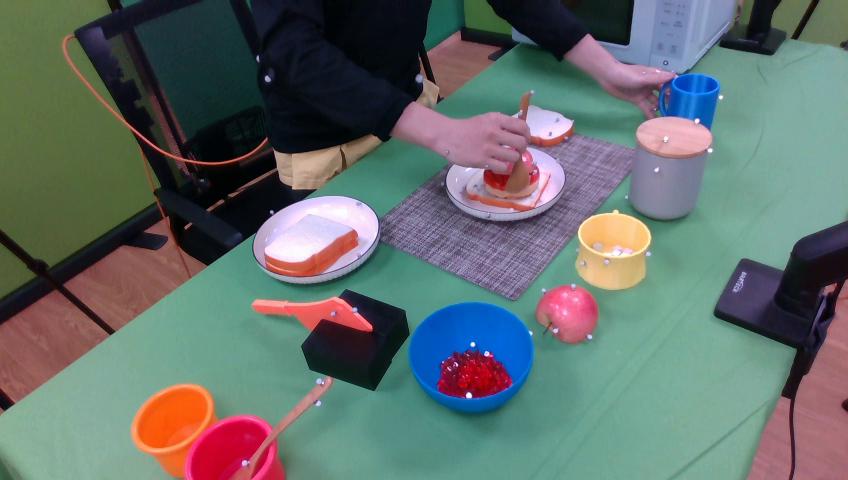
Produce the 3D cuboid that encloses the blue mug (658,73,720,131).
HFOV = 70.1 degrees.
[{"bbox_3d":[0.483,-0.250,1.127,0.082,0.106,0.115,-26,44,-19],"label":"blue mug"}]

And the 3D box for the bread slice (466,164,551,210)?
[{"bbox_3d":[0.141,-0.094,1.041,0.133,0.018,0.107,8,43,21],"label":"bread slice"}]

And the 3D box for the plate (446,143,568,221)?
[{"bbox_3d":[0.142,-0.096,1.045,0.207,0.039,0.206,-4,40,4],"label":"plate"}]

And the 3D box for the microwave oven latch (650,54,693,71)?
[{"bbox_3d":[0.531,-0.386,1.301,0.078,0.029,0.030,26,51,33],"label":"microwave oven latch"}]

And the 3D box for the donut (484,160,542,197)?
[{"bbox_3d":[0.149,-0.110,1.016,0.099,0.048,0.098,-4,40,4],"label":"donut"}]

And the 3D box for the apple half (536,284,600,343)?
[{"bbox_3d":[0.196,0.091,0.815,0.075,0.053,0.080,-22,42,-20],"label":"apple half"}]

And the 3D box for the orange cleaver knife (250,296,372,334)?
[{"bbox_3d":[-0.159,0.103,0.828,0.210,0.078,0.012,-4,43,39],"label":"orange cleaver knife"}]

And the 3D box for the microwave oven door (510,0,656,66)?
[{"bbox_3d":[0.350,-0.539,1.349,0.353,0.245,0.039,24,50,31],"label":"microwave oven door"}]

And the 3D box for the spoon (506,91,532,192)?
[{"bbox_3d":[0.143,-0.140,0.896,0.042,0.194,0.021,-13,47,-7],"label":"spoon"}]

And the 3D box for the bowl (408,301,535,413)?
[{"bbox_3d":[0.060,0.156,0.739,0.151,0.077,0.150,-4,40,4],"label":"bowl"}]

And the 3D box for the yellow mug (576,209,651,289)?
[{"bbox_3d":[0.279,0.004,0.893,0.099,0.064,0.130,6,42,14],"label":"yellow mug"}]

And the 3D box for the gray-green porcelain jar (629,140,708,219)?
[{"bbox_3d":[0.383,-0.105,0.958,0.106,0.127,0.105,-4,41,4],"label":"gray-green porcelain jar"}]

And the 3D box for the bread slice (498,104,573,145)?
[{"bbox_3d":[0.231,-0.231,1.205,0.105,0.019,0.130,-36,47,-29],"label":"bread slice"}]

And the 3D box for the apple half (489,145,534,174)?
[{"bbox_3d":[0.145,-0.138,0.995,0.081,0.033,0.081,-2,35,2],"label":"apple half"}]

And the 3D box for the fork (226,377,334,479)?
[{"bbox_3d":[-0.163,0.216,0.647,0.207,0.019,0.028,-49,41,16],"label":"fork"}]

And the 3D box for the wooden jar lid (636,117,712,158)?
[{"bbox_3d":[0.377,-0.151,0.917,0.108,0.021,0.108,-2,42,2],"label":"wooden jar lid"}]

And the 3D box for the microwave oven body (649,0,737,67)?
[{"bbox_3d":[0.475,-0.602,1.411,0.438,0.261,0.327,23,50,32],"label":"microwave oven body"}]

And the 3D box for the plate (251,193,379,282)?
[{"bbox_3d":[-0.174,-0.001,0.984,0.209,0.038,0.208,-4,40,4],"label":"plate"}]
